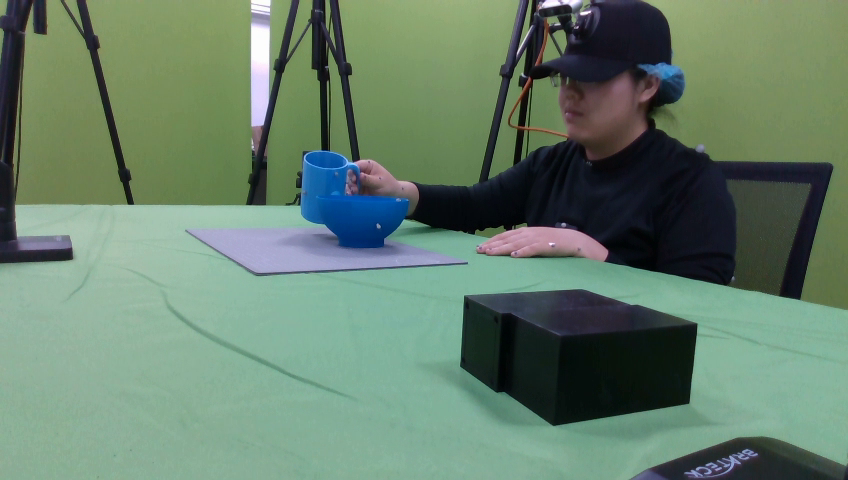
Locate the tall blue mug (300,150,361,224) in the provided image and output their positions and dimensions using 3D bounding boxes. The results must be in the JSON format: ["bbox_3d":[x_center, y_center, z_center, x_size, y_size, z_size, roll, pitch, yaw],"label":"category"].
[{"bbox_3d":[-0.170,-0.099,1.073,0.077,0.108,0.107,19,30,16],"label":"tall blue mug"}]

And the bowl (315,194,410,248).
[{"bbox_3d":[-0.100,-0.030,0.971,0.151,0.077,0.151,2,7,0],"label":"bowl"}]
